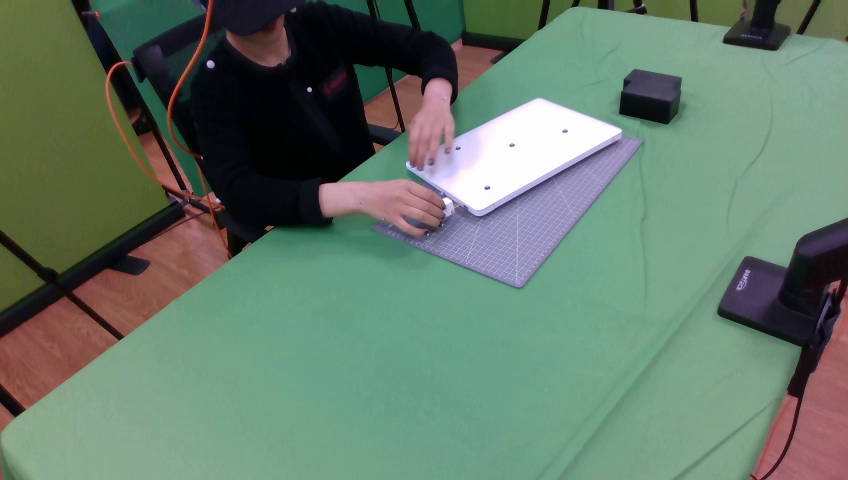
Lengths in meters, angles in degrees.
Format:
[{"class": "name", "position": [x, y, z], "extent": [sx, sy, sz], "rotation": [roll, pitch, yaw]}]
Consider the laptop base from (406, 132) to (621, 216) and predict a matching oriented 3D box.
[{"class": "laptop base", "position": [0.169, -0.167, 1.151], "extent": [0.356, 0.023, 0.233], "rotation": [-29, 39, -22]}]

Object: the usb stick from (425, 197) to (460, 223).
[{"class": "usb stick", "position": [0.033, -0.053, 1.013], "extent": [0.059, 0.027, 0.021], "rotation": [-23, 32, -18]}]

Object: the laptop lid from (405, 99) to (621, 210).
[{"class": "laptop lid", "position": [0.166, -0.177, 1.146], "extent": [0.358, 0.013, 0.239], "rotation": [-28, 40, -21]}]
